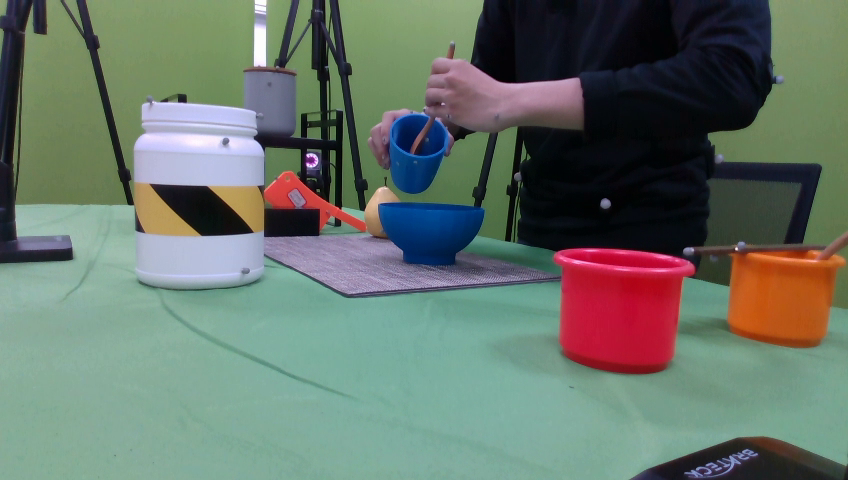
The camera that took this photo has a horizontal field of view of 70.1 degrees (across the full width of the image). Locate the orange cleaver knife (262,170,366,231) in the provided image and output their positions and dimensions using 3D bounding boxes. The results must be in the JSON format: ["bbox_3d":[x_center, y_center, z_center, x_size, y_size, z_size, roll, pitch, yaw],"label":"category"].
[{"bbox_3d":[-0.201,-0.057,1.136,0.212,0.077,0.012,31,-3,-31],"label":"orange cleaver knife"}]

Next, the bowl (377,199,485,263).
[{"bbox_3d":[0.008,-0.012,0.841,0.151,0.077,0.151,2,8,0],"label":"bowl"}]

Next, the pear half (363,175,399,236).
[{"bbox_3d":[-0.064,-0.061,1.077,0.055,0.110,0.077,9,14,39],"label":"pear half"}]

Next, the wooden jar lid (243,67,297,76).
[{"bbox_3d":[-0.319,-0.342,1.254,0.108,0.020,0.108,3,8,0],"label":"wooden jar lid"}]

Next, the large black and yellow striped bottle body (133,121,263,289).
[{"bbox_3d":[-0.243,-0.048,0.659,0.131,0.184,0.130,2,7,0],"label":"large black and yellow striped bottle body"}]

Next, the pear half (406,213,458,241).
[{"bbox_3d":[0.007,-0.020,0.847,0.070,0.031,0.088,1,11,39],"label":"pear half"}]

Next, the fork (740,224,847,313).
[{"bbox_3d":[0.323,0.013,0.485,0.028,0.018,0.207,8,-37,-6],"label":"fork"}]

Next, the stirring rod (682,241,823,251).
[{"bbox_3d":[0.289,0.005,0.525,0.177,0.006,0.014,-1,5,-26],"label":"stirring rod"}]

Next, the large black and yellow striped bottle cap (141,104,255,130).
[{"bbox_3d":[-0.241,-0.131,0.650,0.115,0.019,0.115,3,8,0],"label":"large black and yellow striped bottle cap"}]

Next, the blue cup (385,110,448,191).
[{"bbox_3d":[-0.016,-0.124,0.888,0.093,0.092,0.100,1,-32,-11],"label":"blue cup"}]

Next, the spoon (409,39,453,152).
[{"bbox_3d":[0.011,-0.182,0.842,0.021,0.193,0.042,26,24,8],"label":"spoon"}]

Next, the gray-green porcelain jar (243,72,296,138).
[{"bbox_3d":[-0.322,-0.279,1.263,0.106,0.126,0.106,3,8,0],"label":"gray-green porcelain jar"}]
